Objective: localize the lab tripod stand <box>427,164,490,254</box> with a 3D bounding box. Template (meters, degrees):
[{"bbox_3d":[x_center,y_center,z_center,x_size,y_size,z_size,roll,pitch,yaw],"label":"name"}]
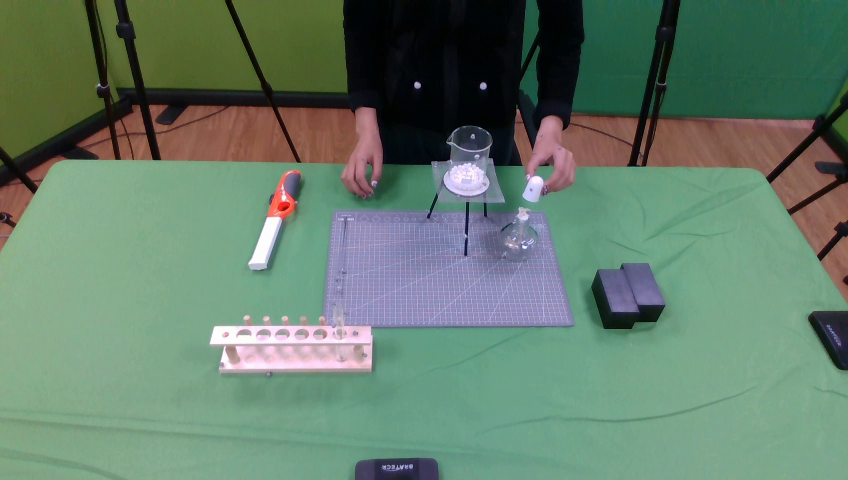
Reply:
[{"bbox_3d":[0.078,-0.068,1.188,0.148,0.132,0.147,3,47,-3],"label":"lab tripod stand"}]

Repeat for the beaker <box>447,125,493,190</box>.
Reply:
[{"bbox_3d":[0.079,-0.148,1.106,0.084,0.101,0.073,-3,47,-7],"label":"beaker"}]

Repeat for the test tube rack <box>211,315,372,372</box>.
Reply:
[{"bbox_3d":[-0.208,0.163,0.982,0.242,0.085,0.066,1,46,-4],"label":"test tube rack"}]

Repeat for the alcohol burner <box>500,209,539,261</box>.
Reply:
[{"bbox_3d":[0.185,-0.016,1.159,0.078,0.120,0.077,2,48,-2],"label":"alcohol burner"}]

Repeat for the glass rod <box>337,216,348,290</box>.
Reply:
[{"bbox_3d":[-0.158,0.022,1.171,0.008,0.008,0.198,1,43,-2],"label":"glass rod"}]

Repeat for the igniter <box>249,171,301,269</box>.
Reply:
[{"bbox_3d":[-0.297,-0.049,1.220,0.057,0.025,0.275,-1,45,9],"label":"igniter"}]

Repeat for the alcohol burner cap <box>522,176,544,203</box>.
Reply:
[{"bbox_3d":[0.203,-0.095,1.116,0.034,0.048,0.033,11,34,-7],"label":"alcohol burner cap"}]

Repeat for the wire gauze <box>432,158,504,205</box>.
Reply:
[{"bbox_3d":[0.081,-0.111,1.138,0.125,0.011,0.120,0,48,-7],"label":"wire gauze"}]

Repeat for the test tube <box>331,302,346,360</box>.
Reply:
[{"bbox_3d":[-0.132,0.144,0.938,0.017,0.151,0.017,2,49,-3],"label":"test tube"}]
